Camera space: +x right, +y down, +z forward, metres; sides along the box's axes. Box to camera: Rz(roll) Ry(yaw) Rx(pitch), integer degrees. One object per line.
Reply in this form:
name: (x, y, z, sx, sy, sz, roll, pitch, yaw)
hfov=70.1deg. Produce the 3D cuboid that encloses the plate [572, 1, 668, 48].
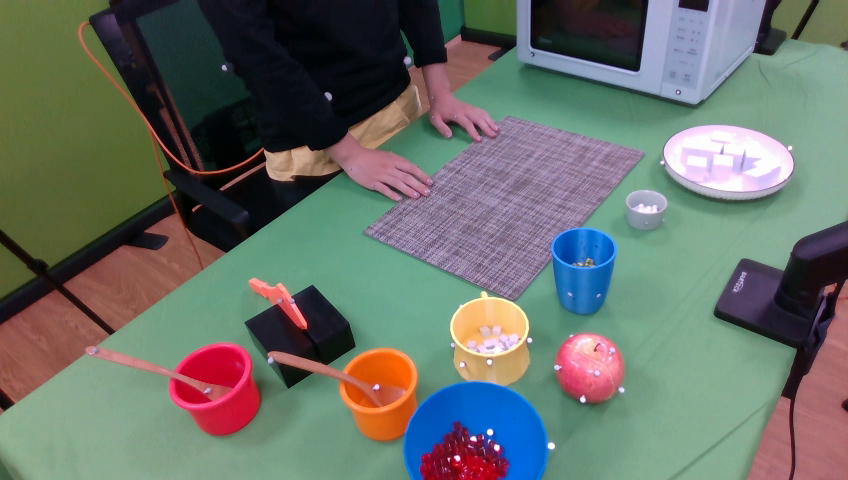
plate: (0.441, -0.483, 1.366, 0.209, 0.038, 0.208, -5, 41, 4)

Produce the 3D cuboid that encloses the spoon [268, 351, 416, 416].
spoon: (-0.090, 0.162, 0.699, 0.021, 0.195, 0.041, -44, 31, 27)

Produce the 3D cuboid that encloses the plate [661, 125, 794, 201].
plate: (0.513, -0.128, 1.035, 0.207, 0.039, 0.206, -4, 40, 4)

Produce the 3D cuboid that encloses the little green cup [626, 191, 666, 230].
little green cup: (0.352, -0.046, 0.963, 0.061, 0.039, 0.061, -4, 40, 4)

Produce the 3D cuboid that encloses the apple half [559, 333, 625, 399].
apple half: (0.209, 0.147, 0.730, 0.080, 0.075, 0.053, 26, 48, 38)

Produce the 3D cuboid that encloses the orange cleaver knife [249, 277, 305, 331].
orange cleaver knife: (-0.210, 0.088, 0.855, 0.012, 0.077, 0.210, -28, 15, -25)

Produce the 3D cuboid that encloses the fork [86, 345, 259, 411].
fork: (-0.298, 0.166, 0.728, 0.209, 0.018, 0.028, 28, 48, -23)

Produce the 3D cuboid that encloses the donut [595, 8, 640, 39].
donut: (0.436, -0.488, 1.359, 0.099, 0.048, 0.098, -11, 34, 9)

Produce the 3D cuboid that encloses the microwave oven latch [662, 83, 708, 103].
microwave oven latch: (0.517, -0.296, 1.204, 0.078, 0.029, 0.030, 27, 52, 35)

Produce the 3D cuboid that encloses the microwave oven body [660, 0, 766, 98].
microwave oven body: (0.472, -0.513, 1.317, 0.438, 0.261, 0.327, 26, 51, 34)

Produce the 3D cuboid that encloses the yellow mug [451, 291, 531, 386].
yellow mug: (0.085, 0.120, 0.786, 0.100, 0.064, 0.130, -7, 39, 1)

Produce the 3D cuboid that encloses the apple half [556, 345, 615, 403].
apple half: (0.181, 0.167, 0.709, 0.080, 0.081, 0.033, 29, 50, 35)

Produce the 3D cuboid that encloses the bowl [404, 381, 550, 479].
bowl: (0.058, 0.235, 0.645, 0.151, 0.077, 0.150, -4, 39, 4)

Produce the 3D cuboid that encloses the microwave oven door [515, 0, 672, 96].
microwave oven door: (0.343, -0.455, 1.259, 0.353, 0.245, 0.039, 26, 51, 33)

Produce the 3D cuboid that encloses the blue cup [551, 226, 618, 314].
blue cup: (0.218, 0.047, 0.826, 0.092, 0.101, 0.092, -6, 40, 5)
